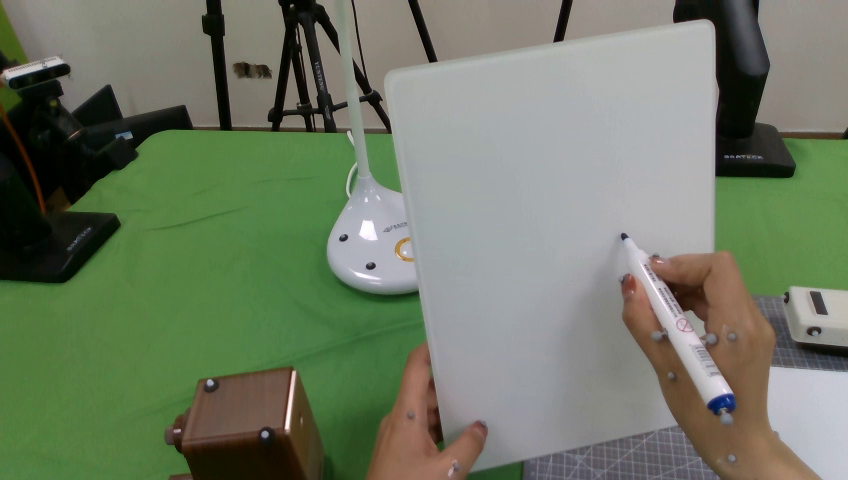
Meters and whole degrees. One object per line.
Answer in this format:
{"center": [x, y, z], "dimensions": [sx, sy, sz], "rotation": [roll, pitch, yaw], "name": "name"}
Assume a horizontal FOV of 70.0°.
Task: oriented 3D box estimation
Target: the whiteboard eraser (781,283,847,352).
{"center": [0.375, 0.070, 0.521], "dimensions": [0.112, 0.042, 0.055], "rotation": [5, 41, 14], "name": "whiteboard eraser"}

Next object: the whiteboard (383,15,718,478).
{"center": [0.095, -0.001, 0.487], "dimensions": [0.217, 0.307, 0.143], "rotation": [-10, 19, -4], "name": "whiteboard"}

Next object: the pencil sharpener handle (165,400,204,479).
{"center": [-0.173, 0.146, 0.429], "dimensions": [0.030, 0.068, 0.035], "rotation": [-7, 26, 0], "name": "pencil sharpener handle"}

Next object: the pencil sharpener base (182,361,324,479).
{"center": [-0.121, 0.147, 0.440], "dimensions": [0.077, 0.108, 0.060], "rotation": [-7, 39, 0], "name": "pencil sharpener base"}

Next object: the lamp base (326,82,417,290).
{"center": [-0.045, -0.066, 0.642], "dimensions": [0.161, 0.182, 0.177], "rotation": [-28, 41, -26], "name": "lamp base"}

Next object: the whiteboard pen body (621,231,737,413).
{"center": [0.150, 0.042, 0.372], "dimensions": [0.017, 0.017, 0.139], "rotation": [-10, 46, -4], "name": "whiteboard pen body"}
